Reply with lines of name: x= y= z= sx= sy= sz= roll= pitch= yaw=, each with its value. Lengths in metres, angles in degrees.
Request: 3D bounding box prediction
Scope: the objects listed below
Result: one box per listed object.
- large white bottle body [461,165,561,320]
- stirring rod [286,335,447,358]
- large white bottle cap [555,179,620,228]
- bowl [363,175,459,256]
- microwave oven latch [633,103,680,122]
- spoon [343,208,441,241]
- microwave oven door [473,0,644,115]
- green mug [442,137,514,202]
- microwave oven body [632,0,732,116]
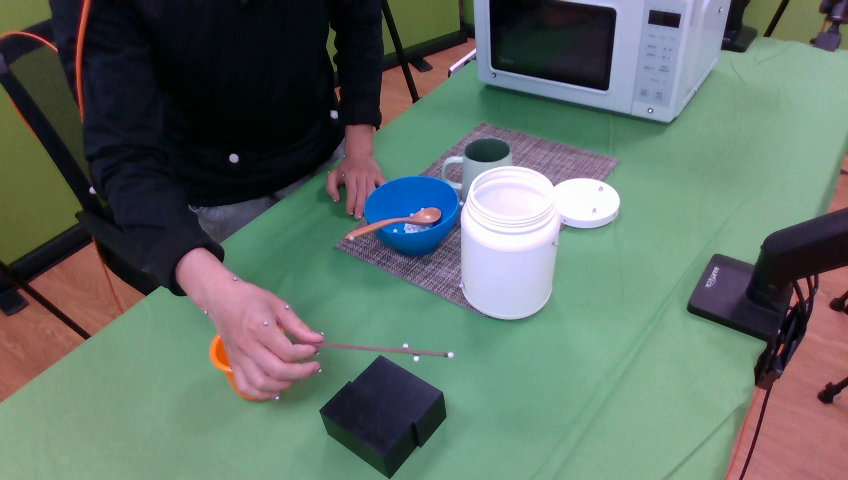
large white bottle body: x=0.115 y=0.004 z=0.816 sx=0.130 sy=0.185 sz=0.130 roll=-2 pitch=43 yaw=2
stirring rod: x=-0.062 y=0.115 z=0.651 sx=0.176 sy=0.014 sz=0.006 roll=5 pitch=78 yaw=6
large white bottle cap: x=0.265 y=-0.062 z=1.001 sx=0.115 sy=0.018 sz=0.114 roll=-3 pitch=41 yaw=3
bowl: x=-0.016 y=-0.029 z=0.955 sx=0.151 sy=0.077 sz=0.150 roll=-4 pitch=40 yaw=4
microwave oven latch: x=0.444 y=-0.249 z=1.157 sx=0.078 sy=0.029 sz=0.030 roll=21 pitch=49 yaw=30
spoon: x=-0.046 y=-0.025 z=0.911 sx=0.041 sy=0.021 sz=0.195 roll=26 pitch=26 yaw=38
microwave oven door: x=0.257 y=-0.396 z=1.199 sx=0.353 sy=0.245 sz=0.039 roll=21 pitch=48 yaw=29
green mug: x=0.091 y=-0.108 z=1.012 sx=0.125 sy=0.105 sz=0.092 roll=2 pitch=42 yaw=11
microwave oven body: x=0.377 y=-0.462 z=1.267 sx=0.438 sy=0.261 sz=0.327 roll=21 pitch=49 yaw=30
